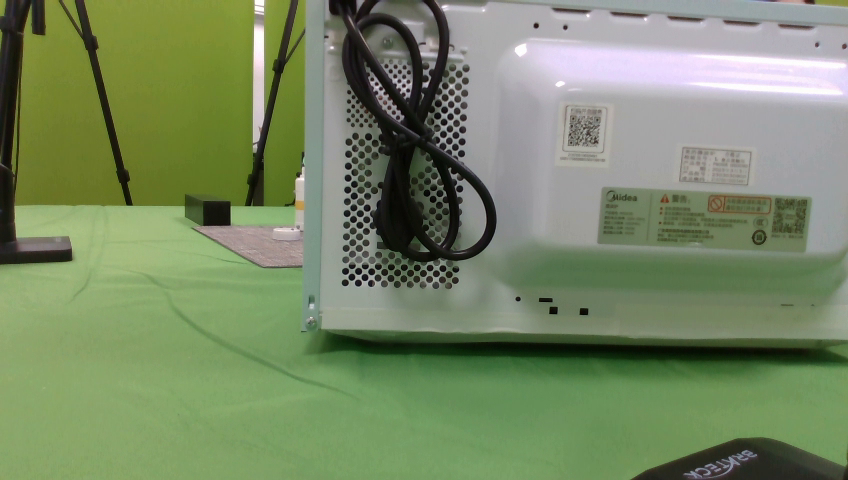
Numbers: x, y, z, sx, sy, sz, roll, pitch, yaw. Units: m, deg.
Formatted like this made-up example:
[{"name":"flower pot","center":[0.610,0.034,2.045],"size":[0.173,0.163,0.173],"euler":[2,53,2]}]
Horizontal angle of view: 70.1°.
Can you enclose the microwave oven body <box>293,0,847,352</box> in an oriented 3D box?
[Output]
[{"name":"microwave oven body","center":[0.122,-0.055,0.550],"size":[0.442,0.260,0.325],"euler":[3,7,-5]}]

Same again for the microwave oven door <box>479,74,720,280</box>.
[{"name":"microwave oven door","center":[0.217,-0.093,0.839],"size":[0.039,0.243,0.354],"euler":[-4,10,-40]}]

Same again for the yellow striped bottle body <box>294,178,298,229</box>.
[{"name":"yellow striped bottle body","center":[-0.213,-0.078,1.142],"size":[0.063,0.120,0.063],"euler":[2,8,0]}]

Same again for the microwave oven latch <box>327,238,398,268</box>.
[{"name":"microwave oven latch","center":[-0.069,0.015,0.694],"size":[0.079,0.029,0.030],"euler":[3,7,-4]}]

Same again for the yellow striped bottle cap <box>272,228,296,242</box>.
[{"name":"yellow striped bottle cap","center":[-0.232,-0.008,1.012],"size":[0.044,0.018,0.044],"euler":[4,9,0]}]
